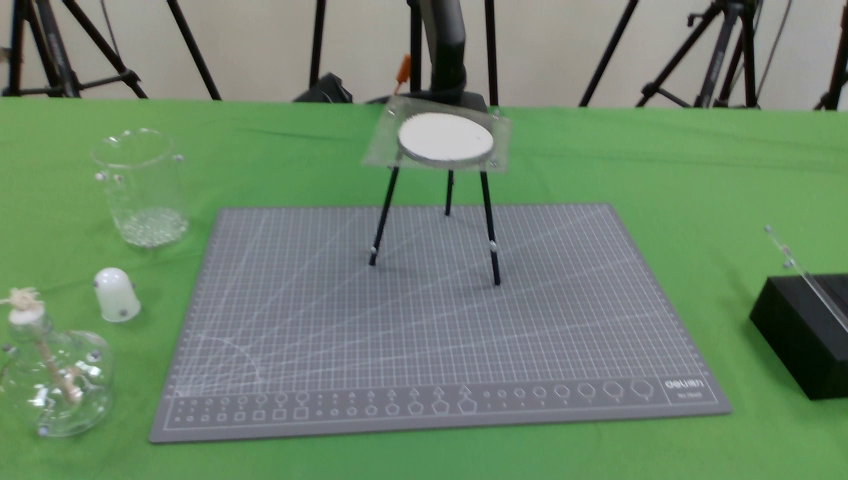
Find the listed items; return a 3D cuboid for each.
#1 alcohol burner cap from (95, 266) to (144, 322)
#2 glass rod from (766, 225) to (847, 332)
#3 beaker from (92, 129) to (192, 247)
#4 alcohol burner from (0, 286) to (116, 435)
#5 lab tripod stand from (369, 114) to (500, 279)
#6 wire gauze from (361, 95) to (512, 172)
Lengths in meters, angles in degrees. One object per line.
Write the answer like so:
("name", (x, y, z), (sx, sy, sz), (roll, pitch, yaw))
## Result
("alcohol burner cap", (-0.268, 0.045, 0.530), (0.034, 0.048, 0.033), (2, 38, -1))
("glass rod", (0.345, 0.048, 0.524), (0.008, 0.008, 0.197), (1, 38, -3))
("beaker", (-0.279, -0.051, 0.605), (0.083, 0.101, 0.074), (27, 44, 29))
("alcohol burner", (-0.264, 0.081, 0.425), (0.078, 0.120, 0.077), (1, 38, 0))
("lab tripod stand", (0.020, -0.042, 0.585), (0.148, 0.132, 0.147), (4, 37, -3))
("wire gauze", (0.017, -0.095, 0.544), (0.121, 0.011, 0.124), (8, 38, 5))
